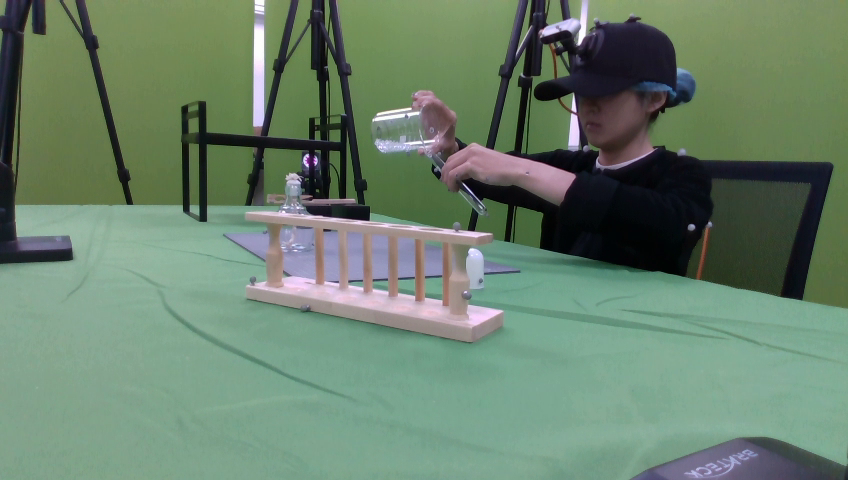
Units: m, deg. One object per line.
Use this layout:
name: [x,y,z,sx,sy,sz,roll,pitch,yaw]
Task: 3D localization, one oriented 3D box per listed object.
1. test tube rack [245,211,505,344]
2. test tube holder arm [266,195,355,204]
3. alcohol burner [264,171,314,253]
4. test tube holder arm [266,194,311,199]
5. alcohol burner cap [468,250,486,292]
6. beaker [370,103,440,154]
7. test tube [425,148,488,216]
test tube rack: [-0.049,0.025,0.547,0.241,0.085,0.067,7,8,29]
test tube holder arm: [-0.222,-0.081,1.196,0.179,0.013,0.015,-4,3,-30]
alcohol burner: [-0.194,-0.042,0.888,0.078,0.119,0.078,3,5,0]
test tube holder arm: [-0.262,-0.084,1.173,0.088,0.010,0.015,-3,2,-30]
alcohol burner cap: [0.056,0.035,0.690,0.034,0.048,0.034,2,7,0]
beaker: [-0.033,-0.182,1.020,0.100,0.084,0.074,-2,-5,28]
test tube: [0.051,-0.093,0.970,0.149,0.017,0.017,50,29,21]
